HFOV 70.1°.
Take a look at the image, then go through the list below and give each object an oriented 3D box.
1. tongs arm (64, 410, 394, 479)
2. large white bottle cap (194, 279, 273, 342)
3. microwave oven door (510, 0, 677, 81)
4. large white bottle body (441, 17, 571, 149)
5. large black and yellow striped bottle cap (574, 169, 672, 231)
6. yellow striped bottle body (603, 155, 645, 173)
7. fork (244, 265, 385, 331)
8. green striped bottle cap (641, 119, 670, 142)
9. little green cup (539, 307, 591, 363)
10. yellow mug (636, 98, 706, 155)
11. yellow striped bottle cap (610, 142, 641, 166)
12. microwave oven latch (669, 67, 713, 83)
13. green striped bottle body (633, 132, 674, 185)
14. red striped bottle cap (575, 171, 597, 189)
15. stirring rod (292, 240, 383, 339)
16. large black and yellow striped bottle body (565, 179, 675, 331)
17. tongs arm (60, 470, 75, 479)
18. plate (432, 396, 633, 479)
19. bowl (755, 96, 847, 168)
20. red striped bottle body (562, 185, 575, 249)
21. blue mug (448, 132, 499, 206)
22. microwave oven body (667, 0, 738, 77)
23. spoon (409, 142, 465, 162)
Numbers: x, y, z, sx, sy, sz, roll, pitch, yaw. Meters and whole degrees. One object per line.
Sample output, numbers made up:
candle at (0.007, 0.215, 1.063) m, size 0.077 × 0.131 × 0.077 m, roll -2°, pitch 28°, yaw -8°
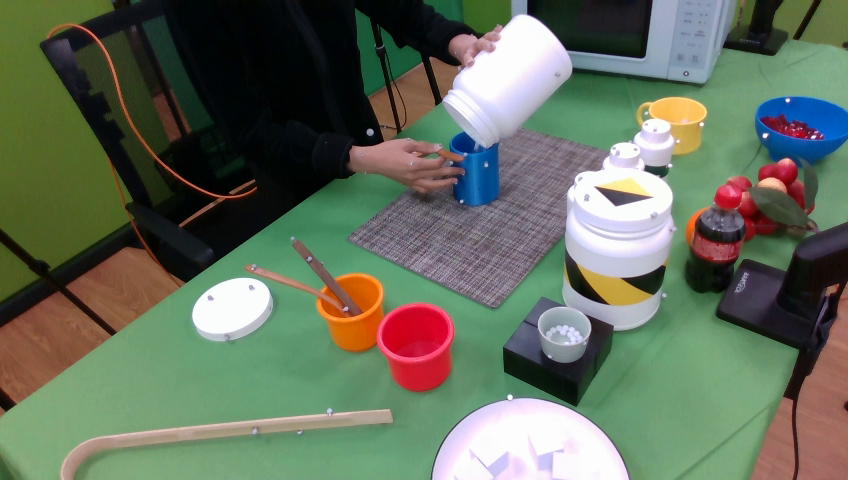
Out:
tongs arm at (-0.228, 0.242, 0.714) m, size 0.385 × 0.026 × 0.050 m, roll -5°, pitch 44°, yaw 4°
large white bottle cap at (-0.284, 0.103, 0.902) m, size 0.115 × 0.018 × 0.114 m, roll -4°, pitch 40°, yaw 4°
microwave oven door at (0.354, -0.478, 1.290) m, size 0.353 × 0.245 × 0.039 m, roll 15°, pitch 45°, yaw 25°
large white bottle body at (0.129, -0.248, 0.974) m, size 0.184 × 0.132 × 0.129 m, roll -45°, pitch 46°, yaw 0°
large black and yellow striped bottle cap at (0.242, -0.051, 0.738) m, size 0.115 × 0.019 × 0.114 m, roll -4°, pitch 37°, yaw 3°
yellow striped bottle body at (0.314, -0.091, 0.957) m, size 0.063 × 0.121 × 0.062 m, roll -4°, pitch 40°, yaw 4°
fork at (-0.142, 0.078, 0.806) m, size 0.209 × 0.018 × 0.028 m, roll 30°, pitch 32°, yaw -23°
green striped bottle cap at (0.371, -0.175, 0.968) m, size 0.044 × 0.020 × 0.044 m, roll -5°, pitch 41°, yaw 5°
little green cup at (0.167, 0.114, 0.721) m, size 0.061 × 0.039 × 0.061 m, roll -4°, pitch 43°, yaw 4°
yellow mug at (0.453, -0.217, 1.128) m, size 0.100 × 0.064 × 0.129 m, roll -34°, pitch 46°, yaw -27°
yellow striped bottle cap at (0.308, -0.131, 0.925) m, size 0.044 × 0.019 × 0.044 m, roll -4°, pitch 45°, yaw 5°
microwave oven latch at (0.556, -0.349, 1.261) m, size 0.078 × 0.029 × 0.030 m, roll 16°, pitch 46°, yaw 27°
green striped bottle body at (0.376, -0.135, 1.001) m, size 0.063 × 0.120 × 0.063 m, roll -5°, pitch 40°, yaw 5°
red striped bottle cap at (0.242, -0.081, 0.876) m, size 0.044 × 0.018 × 0.044 m, roll -5°, pitch 44°, yaw 5°
stirring rod at (-0.118, 0.068, 0.825) m, size 0.176 × 0.006 × 0.014 m, roll 48°, pitch 59°, yaw -4°
large black and yellow striped bottle body at (0.254, 0.014, 0.793) m, size 0.131 × 0.185 × 0.130 m, roll -5°, pitch 40°, yaw 4°
tongs arm at (-0.238, 0.304, 0.649) m, size 0.386 × 0.028 × 0.028 m, roll 6°, pitch 50°, yaw 16°
plate at (0.112, 0.261, 0.634) m, size 0.209 × 0.038 × 0.208 m, roll -5°, pitch 40°, yaw 4°
bowl at (0.645, -0.177, 1.041) m, size 0.151 × 0.077 × 0.150 m, roll -5°, pitch 40°, yaw 4°
red striped bottle body at (0.246, -0.041, 0.910) m, size 0.063 × 0.120 × 0.063 m, roll 0°, pitch 38°, yaw 0°
blue mug at (0.089, -0.135, 1.050) m, size 0.082 × 0.106 × 0.116 m, roll 2°, pitch 42°, yaw 10°
microwave oven body at (0.462, -0.552, 1.369) m, size 0.439 × 0.261 × 0.326 m, roll 15°, pitch 45°, yaw 26°
spoon at (0.019, -0.146, 1.010) m, size 0.042 × 0.022 × 0.192 m, roll -35°, pitch 21°, yaw -11°
